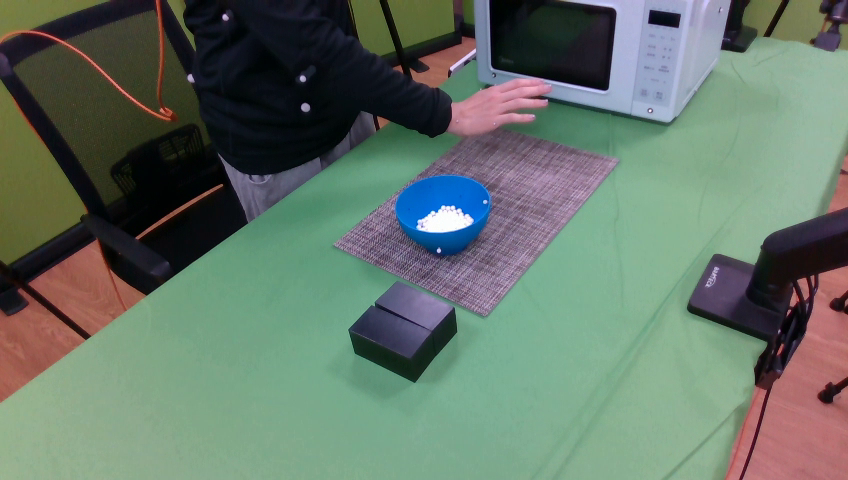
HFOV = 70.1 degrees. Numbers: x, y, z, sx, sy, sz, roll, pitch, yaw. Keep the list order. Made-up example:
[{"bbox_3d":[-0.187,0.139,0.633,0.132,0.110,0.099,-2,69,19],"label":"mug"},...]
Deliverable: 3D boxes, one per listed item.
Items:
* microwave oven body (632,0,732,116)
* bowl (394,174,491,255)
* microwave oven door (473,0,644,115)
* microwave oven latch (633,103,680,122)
[{"bbox_3d":[0.377,-0.462,1.267,0.438,0.261,0.327,21,48,30],"label":"microwave oven body"},{"bbox_3d":[0.032,-0.029,0.949,0.151,0.077,0.150,-4,40,4],"label":"bowl"},{"bbox_3d":[0.257,-0.396,1.199,0.353,0.245,0.039,21,48,29],"label":"microwave oven door"},{"bbox_3d":[0.443,-0.249,1.157,0.078,0.029,0.030,21,49,30],"label":"microwave oven latch"}]
